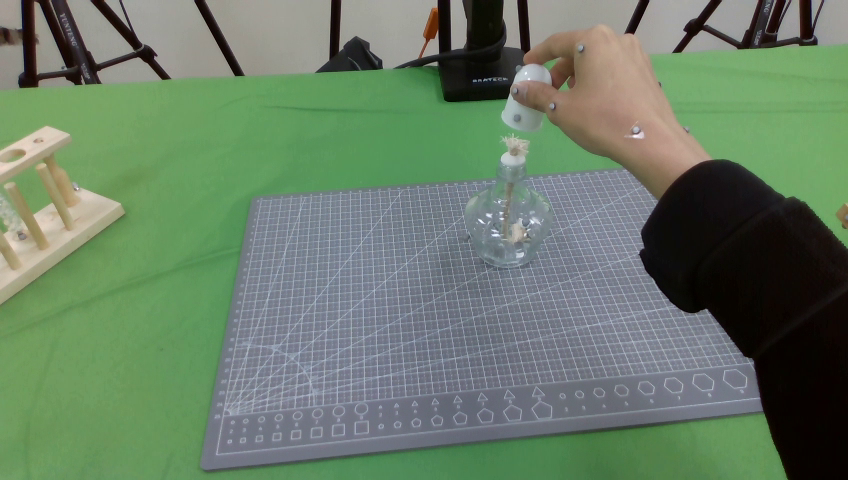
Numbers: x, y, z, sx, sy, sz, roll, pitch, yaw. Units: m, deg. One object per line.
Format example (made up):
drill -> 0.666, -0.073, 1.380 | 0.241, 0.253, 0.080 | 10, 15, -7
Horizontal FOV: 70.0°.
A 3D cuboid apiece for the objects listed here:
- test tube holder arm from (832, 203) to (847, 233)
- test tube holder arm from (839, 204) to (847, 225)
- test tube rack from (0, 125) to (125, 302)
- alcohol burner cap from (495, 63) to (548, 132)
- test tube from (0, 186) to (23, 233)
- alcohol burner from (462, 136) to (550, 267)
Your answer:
test tube holder arm -> 0.347, 0.003, 0.470 | 0.010, 0.015, 0.087 | 2, 42, -7
test tube holder arm -> 0.356, 0.034, 0.438 | 0.013, 0.015, 0.176 | 2, 42, -8
test tube rack -> -0.387, 0.003, 0.514 | 0.066, 0.086, 0.241 | 20, 46, 21
alcohol burner cap -> 0.075, -0.107, 0.451 | 0.034, 0.048, 0.033 | 9, 43, -8
test tube -> -0.384, -0.067, 0.517 | 0.017, 0.151, 0.017 | -2, 40, 2
alcohol burner -> 0.071, -0.035, 0.519 | 0.078, 0.120, 0.077 | -1, 40, 1
